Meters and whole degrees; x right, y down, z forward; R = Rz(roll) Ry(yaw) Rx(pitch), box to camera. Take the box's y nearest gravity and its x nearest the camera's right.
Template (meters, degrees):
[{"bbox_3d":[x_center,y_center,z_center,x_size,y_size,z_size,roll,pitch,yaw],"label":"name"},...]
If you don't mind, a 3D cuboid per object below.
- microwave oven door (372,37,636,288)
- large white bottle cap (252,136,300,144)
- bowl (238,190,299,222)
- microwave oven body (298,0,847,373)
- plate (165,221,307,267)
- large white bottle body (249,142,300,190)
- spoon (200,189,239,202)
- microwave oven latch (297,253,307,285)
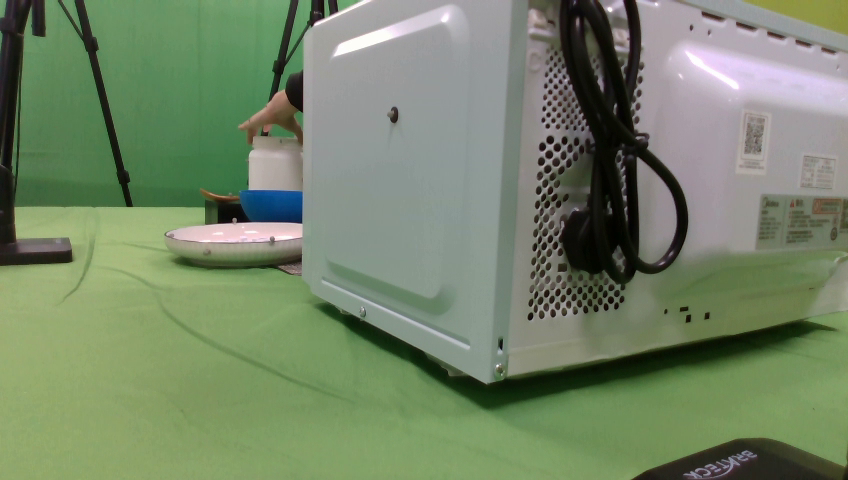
[{"bbox_3d":[0.109,-0.080,0.686,0.358,0.243,0.039,-2,9,-33],"label":"microwave oven door"},{"bbox_3d":[-0.336,-0.228,1.392,0.115,0.018,0.115,1,6,0],"label":"large white bottle cap"},{"bbox_3d":[-0.245,-0.045,1.052,0.151,0.077,0.151,2,7,0],"label":"bowl"},{"bbox_3d":[0.151,-0.055,0.542,0.444,0.260,0.324,-2,7,-33],"label":"microwave oven body"},{"bbox_3d":[-0.241,0.004,0.829,0.209,0.038,0.209,0,9,0],"label":"plate"},{"bbox_3d":[-0.339,-0.144,1.402,0.131,0.184,0.130,2,7,0],"label":"large white bottle body"},{"bbox_3d":[-0.339,-0.080,1.189,0.194,0.021,0.041,5,0,-19],"label":"spoon"},{"bbox_3d":[-0.082,0.027,0.582,0.079,0.029,0.030,-1,7,-32],"label":"microwave oven latch"}]
